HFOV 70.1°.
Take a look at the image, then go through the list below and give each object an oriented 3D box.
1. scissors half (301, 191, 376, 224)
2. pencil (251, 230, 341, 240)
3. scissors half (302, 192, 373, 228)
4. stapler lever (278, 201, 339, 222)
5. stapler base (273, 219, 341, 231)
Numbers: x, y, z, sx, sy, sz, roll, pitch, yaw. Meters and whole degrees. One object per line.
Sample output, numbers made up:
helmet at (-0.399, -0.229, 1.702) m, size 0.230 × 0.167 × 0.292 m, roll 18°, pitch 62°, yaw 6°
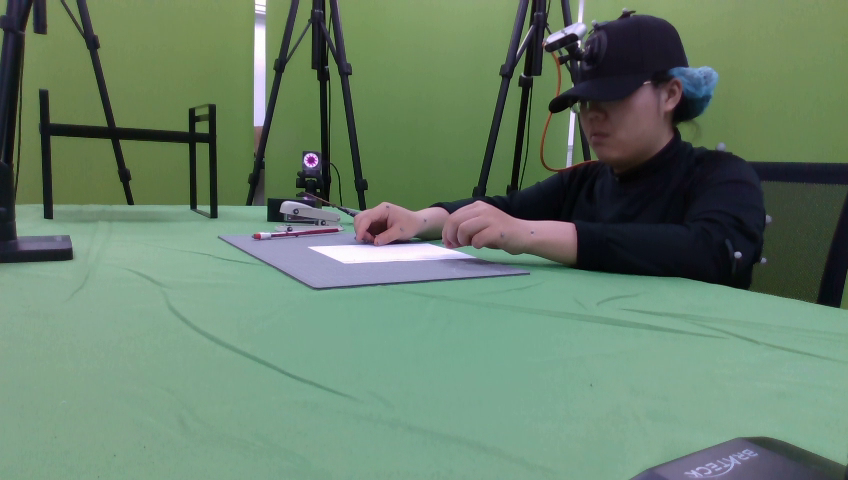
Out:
scissors half at (-0.189, -0.073, 1.334) m, size 0.175 × 0.013 × 0.040 m, roll 22°, pitch 12°, yaw -10°
pencil at (-0.215, -0.011, 1.049) m, size 0.012 × 0.012 × 0.195 m, roll 9°, pitch 9°, yaw 39°
scissors half at (-0.191, -0.068, 1.314) m, size 0.175 × 0.013 × 0.040 m, roll 26°, pitch 17°, yaw 7°
stapler lever at (-0.223, -0.054, 1.170) m, size 0.119 × 0.040 × 0.026 m, roll -1°, pitch 11°, yaw -34°
stapler base at (-0.226, -0.030, 1.172) m, size 0.131 × 0.024 × 0.041 m, roll 0°, pitch 10°, yaw -34°
